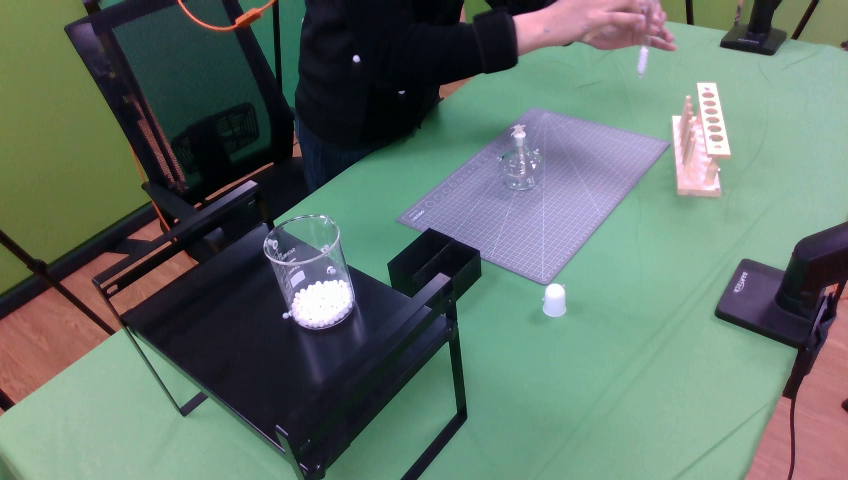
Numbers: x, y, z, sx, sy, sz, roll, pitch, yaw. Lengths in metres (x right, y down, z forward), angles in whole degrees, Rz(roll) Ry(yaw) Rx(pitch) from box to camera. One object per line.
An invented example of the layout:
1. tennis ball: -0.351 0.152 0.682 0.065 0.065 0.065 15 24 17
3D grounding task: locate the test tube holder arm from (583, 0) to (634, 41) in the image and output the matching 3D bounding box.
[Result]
1. test tube holder arm: 0.283 -0.338 0.865 0.013 0.015 0.179 26 61 40

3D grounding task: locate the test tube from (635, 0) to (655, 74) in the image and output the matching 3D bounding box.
1. test tube: 0.351 -0.333 0.960 0.017 0.151 0.017 -4 44 5

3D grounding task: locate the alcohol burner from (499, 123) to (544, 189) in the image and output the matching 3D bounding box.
1. alcohol burner: 0.169 -0.149 1.048 0.078 0.119 0.077 -6 41 5

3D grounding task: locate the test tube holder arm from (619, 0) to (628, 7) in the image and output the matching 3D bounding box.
1. test tube holder arm: 0.307 -0.369 0.886 0.010 0.015 0.088 15 54 33

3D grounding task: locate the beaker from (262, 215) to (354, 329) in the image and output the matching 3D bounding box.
1. beaker: -0.112 0.034 0.616 0.073 0.101 0.084 13 44 22

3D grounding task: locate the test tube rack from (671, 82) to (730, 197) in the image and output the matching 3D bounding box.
1. test tube rack: 0.482 -0.184 1.067 0.066 0.085 0.242 6 42 14

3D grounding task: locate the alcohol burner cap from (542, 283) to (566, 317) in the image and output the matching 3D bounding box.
1. alcohol burner cap: 0.181 0.081 0.840 0.034 0.048 0.033 -3 40 3
